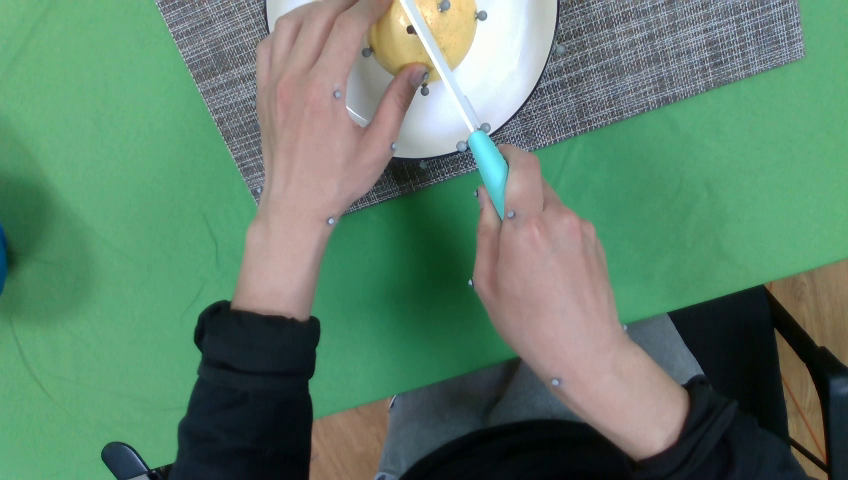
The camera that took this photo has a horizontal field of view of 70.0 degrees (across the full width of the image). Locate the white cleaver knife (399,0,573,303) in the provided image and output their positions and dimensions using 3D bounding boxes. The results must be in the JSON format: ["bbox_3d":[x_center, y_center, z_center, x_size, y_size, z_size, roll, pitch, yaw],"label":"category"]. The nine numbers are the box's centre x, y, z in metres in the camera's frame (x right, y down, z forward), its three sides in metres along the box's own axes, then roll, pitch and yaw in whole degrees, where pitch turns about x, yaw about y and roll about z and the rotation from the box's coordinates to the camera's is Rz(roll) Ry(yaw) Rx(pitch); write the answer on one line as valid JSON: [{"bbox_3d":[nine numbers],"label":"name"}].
[{"bbox_3d":[0.024,-0.081,0.359,0.021,0.065,0.288,-24,111,15],"label":"white cleaver knife"}]

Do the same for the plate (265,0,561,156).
[{"bbox_3d":[-0.008,-0.167,0.440,0.207,0.039,0.209,1,113,3],"label":"plate"}]

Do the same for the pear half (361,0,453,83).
[{"bbox_3d":[-0.015,-0.138,0.405,0.056,0.109,0.077,-26,104,14],"label":"pear half"}]

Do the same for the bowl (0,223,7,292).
[{"bbox_3d":[-0.421,0.006,0.516,0.151,0.076,0.152,1,113,2],"label":"bowl"}]

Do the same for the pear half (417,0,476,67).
[{"bbox_3d":[0.017,-0.155,0.405,0.031,0.087,0.071,-26,105,14],"label":"pear half"}]
